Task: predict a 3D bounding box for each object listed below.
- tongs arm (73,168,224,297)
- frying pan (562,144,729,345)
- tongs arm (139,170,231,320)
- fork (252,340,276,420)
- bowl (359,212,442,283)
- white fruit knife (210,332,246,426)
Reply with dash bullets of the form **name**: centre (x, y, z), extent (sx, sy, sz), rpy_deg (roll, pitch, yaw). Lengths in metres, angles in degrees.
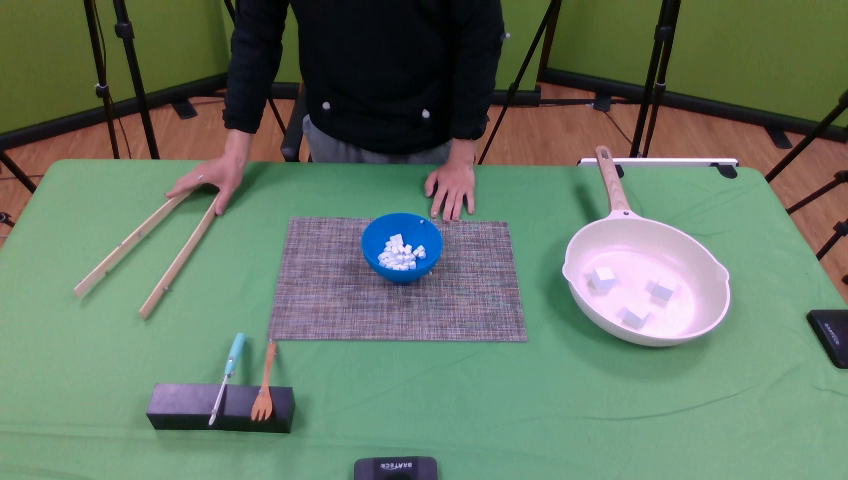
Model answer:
- **tongs arm**: centre (-0.516, -0.025, 1.172), extent (0.050, 0.026, 0.383), rpy_deg (18, 46, 11)
- **frying pan**: centre (0.397, -0.008, 1.179), extent (0.307, 0.103, 0.484), rpy_deg (1, 55, -4)
- **tongs arm**: centre (-0.449, -0.004, 1.163), extent (0.028, 0.028, 0.385), rpy_deg (8, 46, 6)
- **fork**: centre (-0.242, 0.211, 0.932), extent (0.028, 0.019, 0.206), rpy_deg (-8, 27, -5)
- **bowl**: centre (-0.044, 0.027, 1.125), extent (0.151, 0.077, 0.150), rpy_deg (2, 46, -2)
- **white fruit knife**: centre (-0.301, 0.206, 0.930), extent (0.016, 0.027, 0.206), rpy_deg (6, 29, -7)
